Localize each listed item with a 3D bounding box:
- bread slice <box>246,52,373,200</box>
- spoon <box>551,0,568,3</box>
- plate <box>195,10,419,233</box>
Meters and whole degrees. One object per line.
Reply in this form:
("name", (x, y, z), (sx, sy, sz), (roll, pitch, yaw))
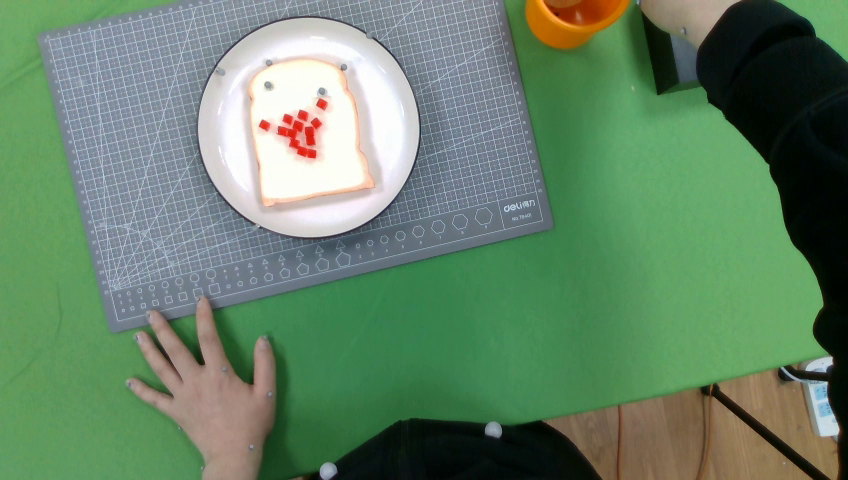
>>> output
("bread slice", (-0.116, -0.110, 0.580), (0.107, 0.018, 0.134), (-13, 91, -3))
("spoon", (0.180, -0.237, 0.524), (0.022, 0.192, 0.041), (8, 94, -39))
("plate", (-0.108, -0.110, 0.580), (0.209, 0.038, 0.209), (0, 91, -2))
